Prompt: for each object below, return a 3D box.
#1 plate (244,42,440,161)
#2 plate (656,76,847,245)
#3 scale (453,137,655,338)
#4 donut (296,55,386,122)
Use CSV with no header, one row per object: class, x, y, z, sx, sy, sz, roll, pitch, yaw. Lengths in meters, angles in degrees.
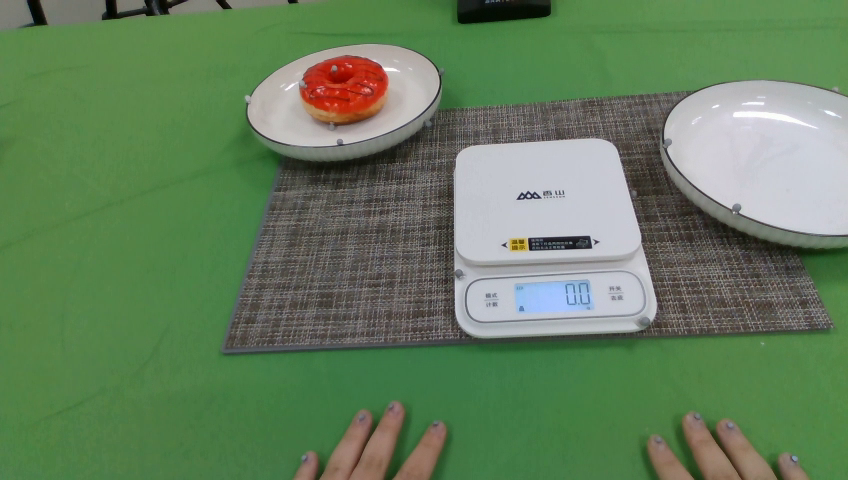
plate,-0.086,-0.147,0.652,0.209,0.038,0.207,-5,45,5
plate,0.306,-0.070,0.523,0.207,0.039,0.205,-2,47,3
scale,0.098,-0.011,0.501,0.148,0.032,0.199,-3,48,6
donut,-0.089,-0.163,0.652,0.099,0.049,0.098,-3,45,4
